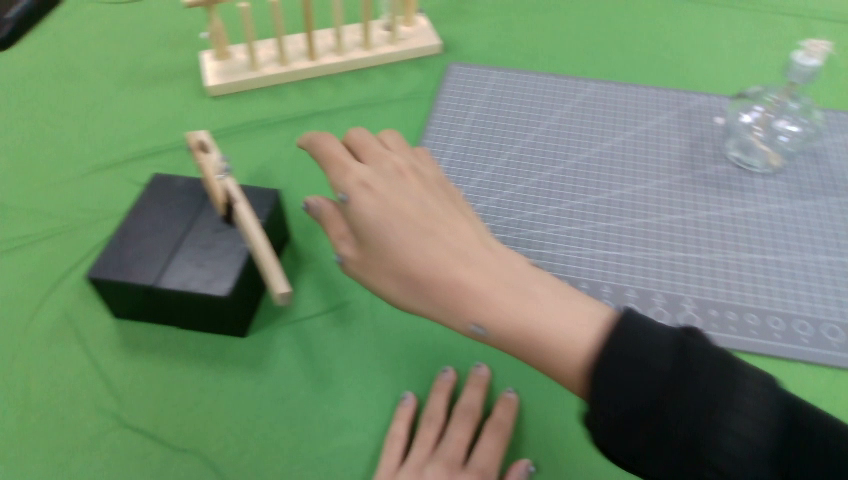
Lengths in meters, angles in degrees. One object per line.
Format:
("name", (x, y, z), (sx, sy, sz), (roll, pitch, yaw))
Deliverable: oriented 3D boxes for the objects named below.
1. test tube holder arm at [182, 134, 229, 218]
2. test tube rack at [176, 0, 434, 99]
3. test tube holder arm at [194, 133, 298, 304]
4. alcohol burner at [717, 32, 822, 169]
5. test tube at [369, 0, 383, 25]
("test tube holder arm", (-0.161, -0.049, 0.451), (0.010, 0.015, 0.087), (-22, 54, -26))
("test tube rack", (-0.114, -0.222, 0.615), (0.243, 0.086, 0.066), (-15, 52, -12))
("test tube holder arm", (-0.131, -0.022, 0.431), (0.013, 0.015, 0.176), (-23, 55, -27))
("alcohol burner", (0.294, -0.119, 0.507), (0.078, 0.120, 0.077), (1, 49, 0))
("test tube", (-0.054, -0.286, 0.604), (0.017, 0.152, 0.017), (-3, 48, 4))
